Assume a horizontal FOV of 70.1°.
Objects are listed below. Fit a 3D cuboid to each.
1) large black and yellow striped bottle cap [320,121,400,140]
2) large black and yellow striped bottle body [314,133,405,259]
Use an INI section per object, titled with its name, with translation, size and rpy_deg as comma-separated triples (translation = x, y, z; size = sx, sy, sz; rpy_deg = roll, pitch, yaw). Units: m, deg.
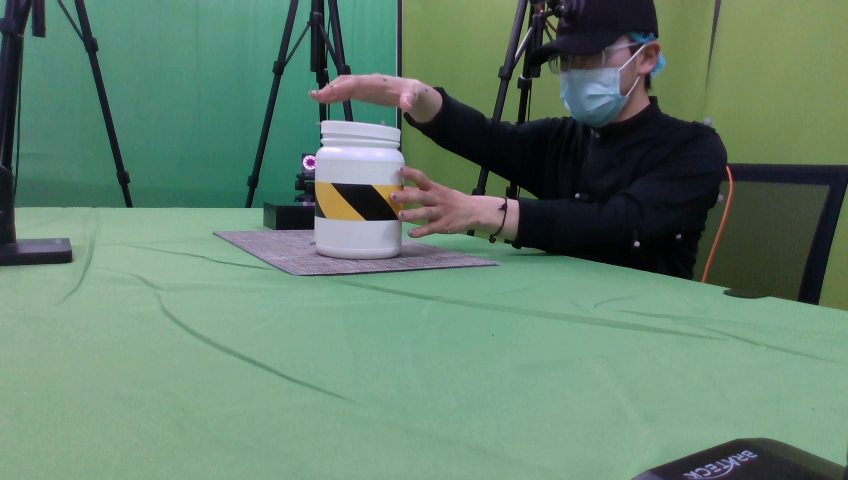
[large black and yellow striped bottle cap]
translation = -0.091, -0.157, 0.873
size = 0.115, 0.019, 0.115
rpy_deg = 3, 6, 0
[large black and yellow striped bottle body]
translation = -0.095, -0.071, 0.886
size = 0.131, 0.184, 0.130
rpy_deg = 2, 8, 0
